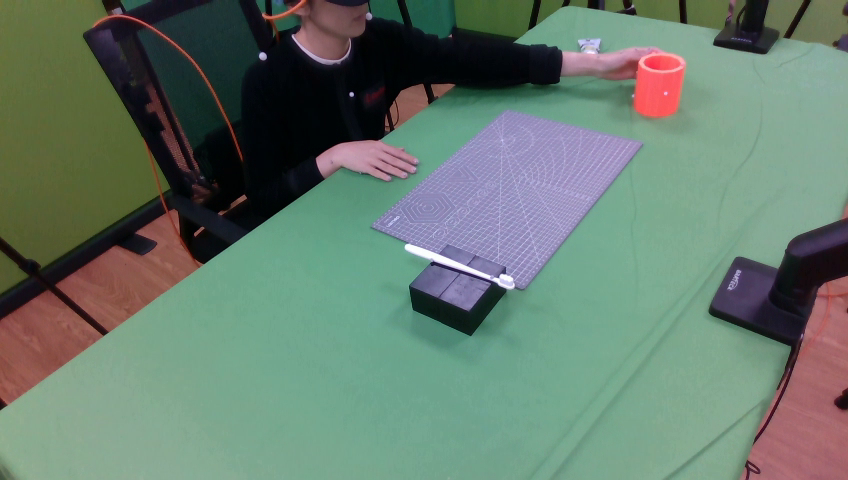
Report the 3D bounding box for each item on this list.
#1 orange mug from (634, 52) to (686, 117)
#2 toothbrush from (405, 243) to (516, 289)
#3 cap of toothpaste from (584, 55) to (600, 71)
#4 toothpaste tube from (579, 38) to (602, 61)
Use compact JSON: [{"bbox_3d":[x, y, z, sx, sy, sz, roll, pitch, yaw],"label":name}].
[{"bbox_3d":[0.469,-0.321,1.219,0.083,0.101,0.125,-5,45,4],"label":"orange mug"},{"bbox_3d":[0.048,0.034,0.859,0.180,0.017,0.014,19,52,28],"label":"toothbrush"},{"bbox_3d":[0.381,-0.403,1.372,0.037,0.037,0.011,1,38,10],"label":"cap of toothpaste"},{"bbox_3d":[0.398,-0.449,1.433,0.055,0.034,0.164,6,38,8],"label":"toothpaste tube"}]
